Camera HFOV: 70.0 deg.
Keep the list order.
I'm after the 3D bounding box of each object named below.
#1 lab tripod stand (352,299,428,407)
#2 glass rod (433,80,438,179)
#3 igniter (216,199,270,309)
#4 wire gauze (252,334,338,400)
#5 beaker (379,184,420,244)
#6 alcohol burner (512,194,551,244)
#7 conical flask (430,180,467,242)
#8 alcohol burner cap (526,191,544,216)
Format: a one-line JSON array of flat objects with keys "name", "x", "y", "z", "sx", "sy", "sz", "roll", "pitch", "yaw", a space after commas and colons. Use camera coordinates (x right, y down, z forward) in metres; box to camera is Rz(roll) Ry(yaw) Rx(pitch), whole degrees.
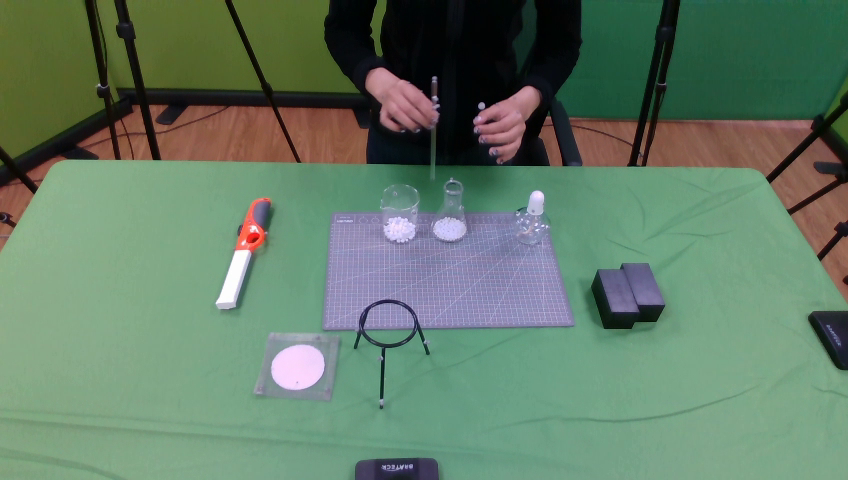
[{"name": "lab tripod stand", "x": -0.056, "y": 0.166, "z": 0.958, "sx": 0.148, "sy": 0.132, "sz": 0.147, "roll": 3, "pitch": 44, "yaw": -2}, {"name": "glass rod", "x": 0.020, "y": -0.186, "z": 1.049, "sx": 0.008, "sy": 0.201, "sz": 0.008, "roll": 0, "pitch": 43, "yaw": 0}, {"name": "igniter", "x": -0.342, "y": 0.016, "z": 1.153, "sx": 0.057, "sy": 0.025, "sz": 0.275, "roll": -3, "pitch": 45, "yaw": 7}, {"name": "wire gauze", "x": -0.209, "y": 0.204, "z": 0.996, "sx": 0.125, "sy": 0.011, "sz": 0.120, "roll": 3, "pitch": 45, "yaw": 1}, {"name": "beaker", "x": -0.050, "y": -0.047, "z": 1.184, "sx": 0.084, "sy": 0.101, "sz": 0.073, "roll": -27, "pitch": 53, "yaw": -26}, {"name": "alcohol burner", "x": 0.215, "y": -0.048, "z": 1.196, "sx": 0.078, "sy": 0.119, "sz": 0.077, "roll": 4, "pitch": 46, "yaw": -4}, {"name": "conical flask", "x": 0.052, "y": -0.060, "z": 1.188, "sx": 0.075, "sy": 0.122, "sz": 0.075, "roll": 2, "pitch": 46, "yaw": -2}, {"name": "alcohol burner cap", "x": 0.216, "y": -0.073, "z": 1.170, "sx": 0.034, "sy": 0.048, "sz": 0.033, "roll": 0, "pitch": 42, "yaw": 0}]
